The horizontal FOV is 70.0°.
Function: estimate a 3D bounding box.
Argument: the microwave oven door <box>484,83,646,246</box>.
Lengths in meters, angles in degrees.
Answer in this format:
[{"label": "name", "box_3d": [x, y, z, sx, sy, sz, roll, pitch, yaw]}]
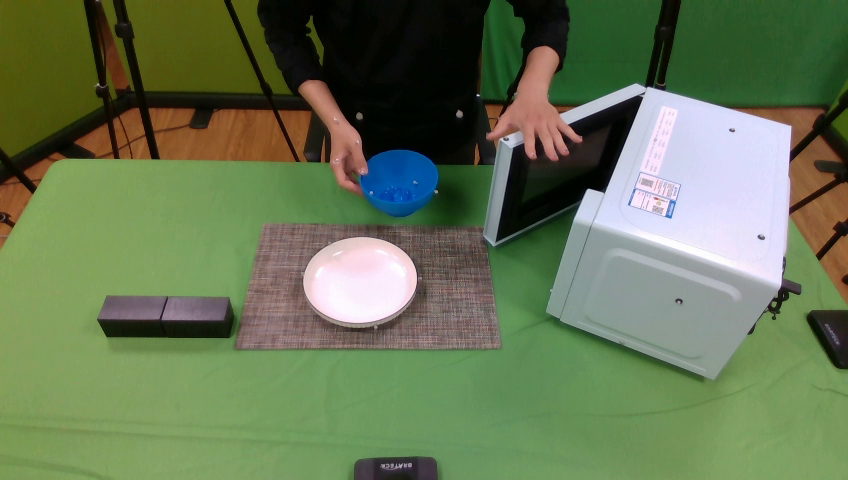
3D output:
[{"label": "microwave oven door", "box_3d": [0.277, -0.149, 1.184, 0.356, 0.245, 0.039, -25, 52, -25]}]

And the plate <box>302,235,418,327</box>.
[{"label": "plate", "box_3d": [-0.114, 0.077, 1.098, 0.208, 0.039, 0.206, 2, 46, -2]}]

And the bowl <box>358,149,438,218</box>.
[{"label": "bowl", "box_3d": [-0.049, -0.096, 1.162, 0.151, 0.077, 0.150, 0, 48, 0]}]

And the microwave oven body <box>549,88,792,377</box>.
[{"label": "microwave oven body", "box_3d": [0.456, -0.028, 1.088, 0.325, 0.261, 0.440, 20, 47, 16]}]

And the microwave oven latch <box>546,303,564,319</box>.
[{"label": "microwave oven latch", "box_3d": [0.242, 0.102, 1.081, 0.030, 0.029, 0.079, 21, 48, 17]}]
